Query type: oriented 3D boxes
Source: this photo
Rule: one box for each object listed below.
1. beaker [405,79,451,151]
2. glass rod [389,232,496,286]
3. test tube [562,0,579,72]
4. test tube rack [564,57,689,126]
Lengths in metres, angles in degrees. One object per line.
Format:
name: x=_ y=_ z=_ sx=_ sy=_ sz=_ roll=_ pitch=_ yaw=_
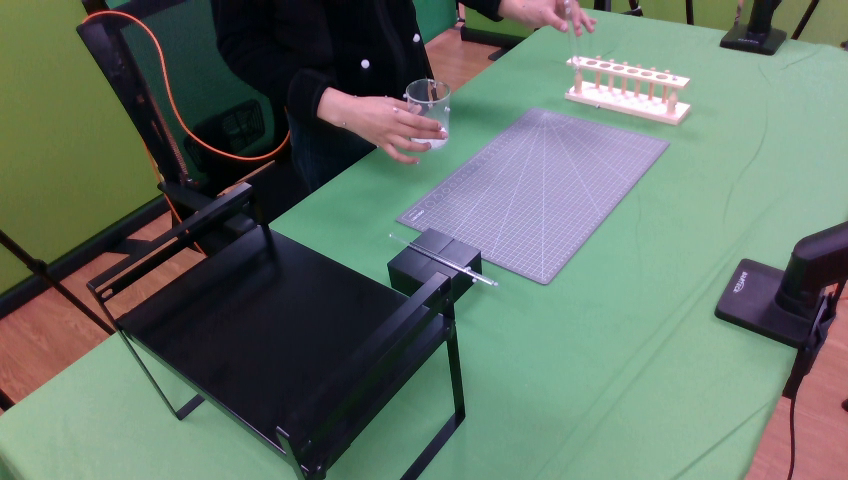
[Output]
beaker: x=0.008 y=-0.210 z=1.021 sx=0.074 sy=0.100 sz=0.084 roll=12 pitch=45 yaw=12
glass rod: x=0.022 y=0.025 z=0.878 sx=0.198 sy=0.008 sz=0.008 roll=25 pitch=50 yaw=33
test tube: x=0.272 y=-0.385 z=1.126 sx=0.017 sy=0.151 sz=0.017 roll=-12 pitch=33 yaw=8
test tube rack: x=0.411 y=-0.311 z=1.230 sx=0.240 sy=0.085 sz=0.067 roll=23 pitch=49 yaw=32
